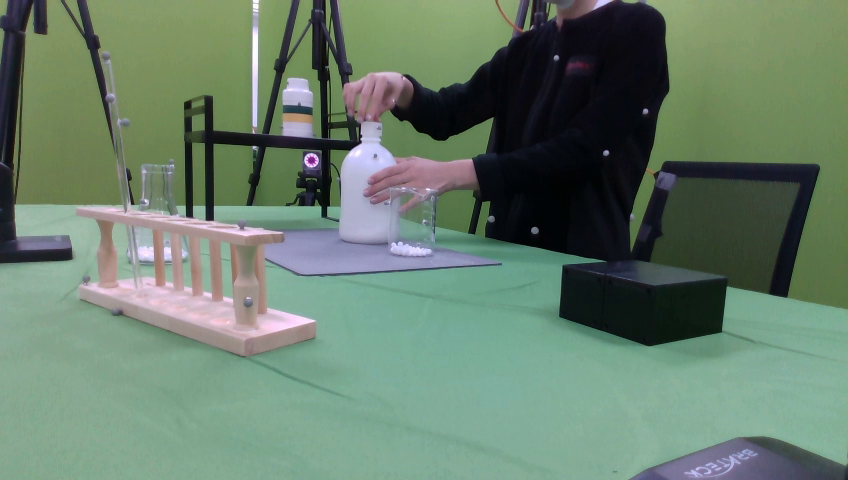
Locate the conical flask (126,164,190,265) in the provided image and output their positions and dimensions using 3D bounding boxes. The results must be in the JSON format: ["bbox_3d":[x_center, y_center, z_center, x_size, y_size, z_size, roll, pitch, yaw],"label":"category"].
[{"bbox_3d":[-0.332,-0.033,0.756,0.075,0.122,0.075,2,7,0],"label":"conical flask"}]

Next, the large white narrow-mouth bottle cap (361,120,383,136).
[{"bbox_3d":[-0.085,-0.184,0.998,0.038,0.024,0.037,4,9,0],"label":"large white narrow-mouth bottle cap"}]

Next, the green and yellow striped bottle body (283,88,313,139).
[{"bbox_3d":[-0.266,-0.275,1.275,0.063,0.119,0.063,3,7,0],"label":"green and yellow striped bottle body"}]

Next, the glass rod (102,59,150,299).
[{"bbox_3d":[-0.243,-0.045,0.496,0.008,0.199,0.008,-4,13,1],"label":"glass rod"}]

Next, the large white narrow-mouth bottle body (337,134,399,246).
[{"bbox_3d":[-0.092,-0.092,1.014,0.102,0.194,0.101,4,9,0],"label":"large white narrow-mouth bottle body"}]

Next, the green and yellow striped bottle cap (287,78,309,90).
[{"bbox_3d":[-0.265,-0.326,1.268,0.045,0.020,0.045,4,6,0],"label":"green and yellow striped bottle cap"}]

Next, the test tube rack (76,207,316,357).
[{"bbox_3d":[-0.196,0.023,0.500,0.241,0.085,0.067,8,9,36],"label":"test tube rack"}]

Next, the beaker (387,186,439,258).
[{"bbox_3d":[-0.015,-0.027,0.885,0.074,0.100,0.083,-1,9,-20],"label":"beaker"}]
